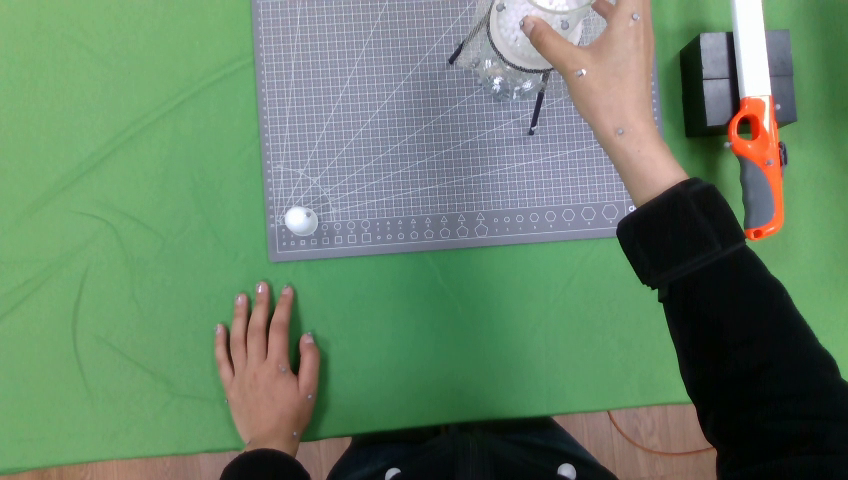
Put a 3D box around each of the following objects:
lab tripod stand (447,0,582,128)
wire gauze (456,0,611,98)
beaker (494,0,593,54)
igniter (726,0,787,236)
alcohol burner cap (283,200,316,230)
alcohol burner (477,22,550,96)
[{"bbox_3d":[0.100,-0.201,0.618,0.148,0.131,0.148,0,85,-2],"label":"lab tripod stand"},{"bbox_3d":[0.105,-0.202,0.553,0.121,0.011,0.125,18,83,-3],"label":"wire gauze"},{"bbox_3d":[0.097,-0.205,0.504,0.084,0.100,0.074,-3,86,-3],"label":"beaker"},{"bbox_3d":[0.345,-0.142,0.635,0.057,0.025,0.276,-3,87,3],"label":"igniter"},{"bbox_3d":[-0.135,-0.028,0.647,0.034,0.048,0.034,0,87,-3],"label":"alcohol burner cap"},{"bbox_3d":[0.095,-0.192,0.627,0.078,0.119,0.078,0,89,-1],"label":"alcohol burner"}]
